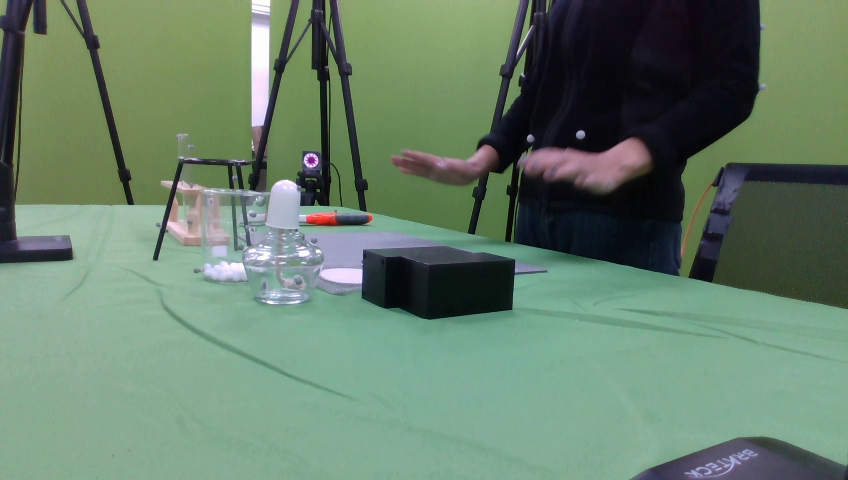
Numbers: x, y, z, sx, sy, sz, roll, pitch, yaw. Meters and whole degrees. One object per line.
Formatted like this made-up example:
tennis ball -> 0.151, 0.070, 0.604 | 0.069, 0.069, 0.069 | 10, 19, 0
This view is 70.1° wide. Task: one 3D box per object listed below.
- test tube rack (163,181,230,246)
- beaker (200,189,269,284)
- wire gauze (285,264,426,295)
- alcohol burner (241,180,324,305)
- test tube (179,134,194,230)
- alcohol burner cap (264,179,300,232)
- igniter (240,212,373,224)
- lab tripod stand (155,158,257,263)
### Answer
test tube rack -> -0.387, -0.050, 1.015 | 0.067, 0.085, 0.241 | -2, 9, -30
beaker -> -0.209, -0.006, 0.676 | 0.073, 0.100, 0.084 | 7, 8, 28
wire gauze -> -0.079, 0.039, 0.692 | 0.122, 0.011, 0.124 | -4, 11, -37
alcohol burner -> -0.136, 0.002, 0.583 | 0.078, 0.119, 0.078 | 1, 8, 0
test tube -> -0.366, -0.089, 0.938 | 0.017, 0.150, 0.017 | -1, 9, 1
alcohol burner cap -> -0.134, -0.034, 0.579 | 0.034, 0.048, 0.034 | 9, 10, -1
igniter -> -0.237, -0.045, 1.250 | 0.278, 0.025, 0.057 | -2, -2, -31
lab tripod stand -> -0.275, -0.041, 0.797 | 0.148, 0.131, 0.148 | 2, 9, 0
